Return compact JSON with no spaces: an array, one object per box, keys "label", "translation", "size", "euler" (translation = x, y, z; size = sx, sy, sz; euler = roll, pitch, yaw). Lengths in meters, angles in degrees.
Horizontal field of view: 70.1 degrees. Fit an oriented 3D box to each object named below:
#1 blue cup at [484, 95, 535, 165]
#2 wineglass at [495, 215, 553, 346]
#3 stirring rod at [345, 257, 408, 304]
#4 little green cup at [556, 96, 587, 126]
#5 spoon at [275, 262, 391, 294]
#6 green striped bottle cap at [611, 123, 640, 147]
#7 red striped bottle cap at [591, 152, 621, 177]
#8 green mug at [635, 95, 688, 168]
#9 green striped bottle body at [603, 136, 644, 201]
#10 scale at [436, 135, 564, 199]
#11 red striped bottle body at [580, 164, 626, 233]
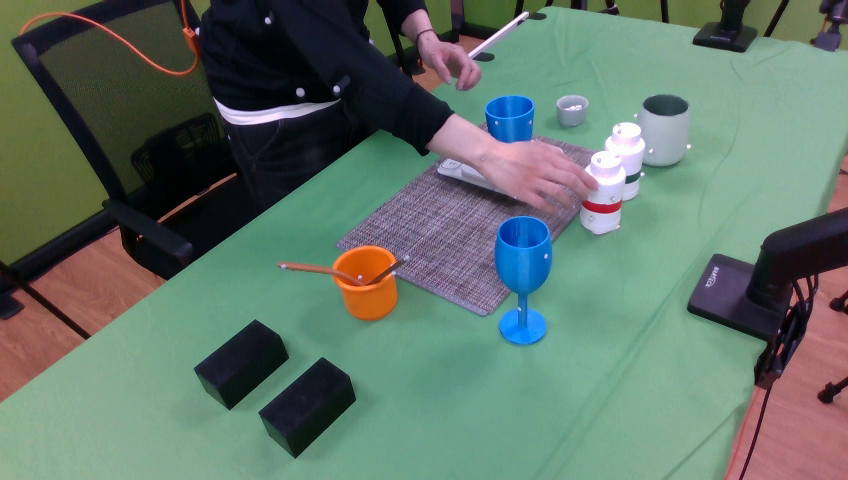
[{"label":"blue cup","translation":[0.151,-0.188,1.052],"size":[0.092,0.101,0.092],"euler":[-6,39,5]},{"label":"wineglass","translation":[0.127,0.054,0.770],"size":[0.074,0.173,0.073],"euler":[-4,40,4]},{"label":"stirring rod","translation":[-0.067,0.057,0.815],"size":[0.014,0.175,0.006],"euler":[-25,82,-38]},{"label":"little green cup","translation":[0.295,-0.258,1.214],"size":[0.061,0.039,0.061],"euler":[-4,41,4]},{"label":"spoon","translation":[-0.120,0.050,0.830],"size":[0.041,0.195,0.021],"euler":[31,97,45]},{"label":"green striped bottle cap","translation":[0.322,-0.168,0.963],"size":[0.044,0.020,0.044],"euler":[-3,41,3]},{"label":"red striped bottle cap","translation":[0.273,-0.114,0.907],"size":[0.044,0.018,0.044],"euler":[-5,39,4]},{"label":"green mug","translation":[0.421,-0.201,1.081],"size":[0.092,0.105,0.125],"euler":[5,42,15]},{"label":"green striped bottle body","translation":[0.326,-0.128,0.997],"size":[0.063,0.120,0.063],"euler":[-4,41,4]},{"label":"scale","translation":[0.137,-0.141,1.101],"size":[0.199,0.032,0.149],"euler":[22,48,30]},{"label":"red striped bottle body","translation":[0.278,-0.075,0.942],"size":[0.063,0.120,0.062],"euler":[-4,41,4]}]
